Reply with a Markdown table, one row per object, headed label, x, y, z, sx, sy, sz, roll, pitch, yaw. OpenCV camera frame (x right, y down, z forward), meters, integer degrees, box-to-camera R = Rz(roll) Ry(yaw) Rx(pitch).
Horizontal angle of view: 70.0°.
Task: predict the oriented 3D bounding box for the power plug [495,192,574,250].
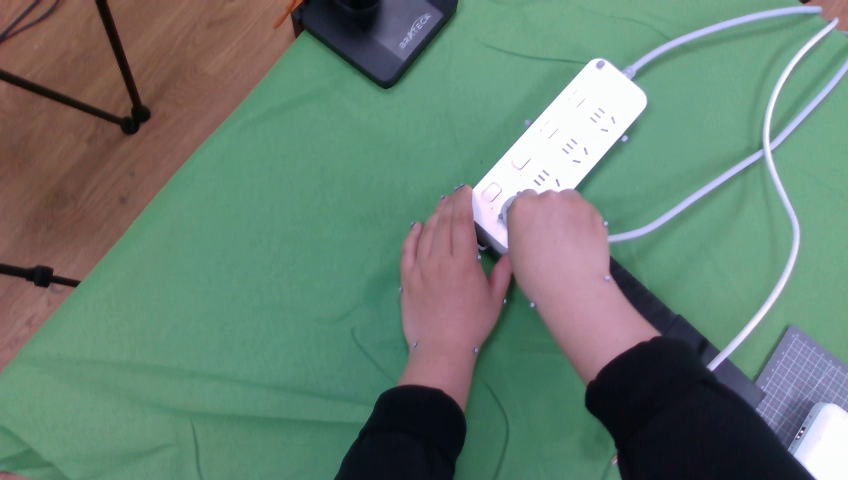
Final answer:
| label | x | y | z | sx | sy | sz | roll | pitch | yaw |
| --- | --- | --- | --- | --- | --- | --- | --- | --- | --- |
| power plug | 0.093 | -0.010 | 0.542 | 0.035 | 0.053 | 0.072 | -34 | 86 | -10 |

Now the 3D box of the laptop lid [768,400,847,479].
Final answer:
| label | x | y | z | sx | sy | sz | roll | pitch | yaw |
| --- | --- | --- | --- | --- | --- | --- | --- | --- | --- |
| laptop lid | 0.430 | 0.338 | 0.526 | 0.356 | 0.013 | 0.241 | 39 | 80 | 2 |

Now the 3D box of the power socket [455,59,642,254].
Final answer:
| label | x | y | z | sx | sy | sz | roll | pitch | yaw |
| --- | --- | --- | --- | --- | --- | --- | --- | --- | --- |
| power socket | 0.120 | -0.081 | 0.578 | 0.072 | 0.032 | 0.226 | 42 | 78 | 2 |

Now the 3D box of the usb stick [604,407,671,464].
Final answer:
| label | x | y | z | sx | sy | sz | roll | pitch | yaw |
| --- | --- | --- | --- | --- | --- | --- | --- | --- | --- |
| usb stick | 0.182 | 0.173 | 0.522 | 0.059 | 0.022 | 0.027 | -49 | 61 | 14 |

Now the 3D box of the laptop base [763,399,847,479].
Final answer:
| label | x | y | z | sx | sy | sz | roll | pitch | yaw |
| --- | --- | --- | --- | --- | --- | --- | --- | --- | --- |
| laptop base | 0.431 | 0.339 | 0.537 | 0.354 | 0.023 | 0.235 | 38 | 81 | 2 |
